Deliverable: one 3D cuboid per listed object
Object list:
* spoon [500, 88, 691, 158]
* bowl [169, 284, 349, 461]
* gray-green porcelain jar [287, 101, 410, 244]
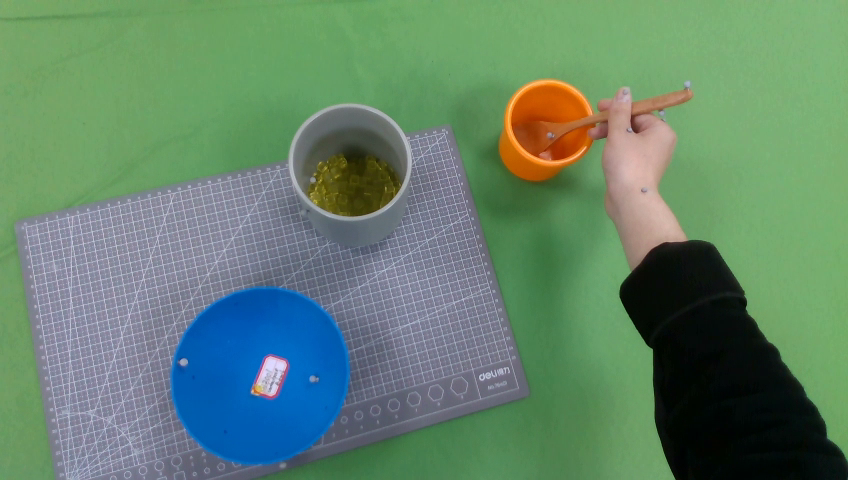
[{"bbox_3d":[0.161,-0.117,0.597,0.022,0.193,0.041,10,75,-48],"label":"spoon"},{"bbox_3d":[-0.143,0.119,0.555,0.151,0.077,0.150,1,78,-5],"label":"bowl"},{"bbox_3d":[-0.068,-0.056,0.572,0.106,0.127,0.105,1,78,-5],"label":"gray-green porcelain jar"}]
